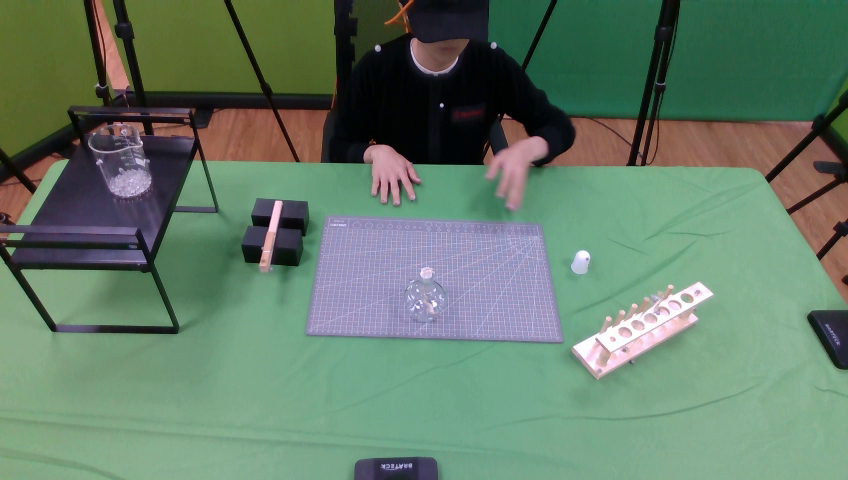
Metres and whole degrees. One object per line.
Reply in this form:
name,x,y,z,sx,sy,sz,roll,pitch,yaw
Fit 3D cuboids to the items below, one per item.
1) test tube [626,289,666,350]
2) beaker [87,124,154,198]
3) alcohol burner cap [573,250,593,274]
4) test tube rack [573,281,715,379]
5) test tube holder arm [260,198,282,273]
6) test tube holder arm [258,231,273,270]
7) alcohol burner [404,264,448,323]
test tube,0.355,0.132,0.975,0.017,0.151,0.017,3,46,-3
beaker,-0.482,-0.124,0.978,0.084,0.101,0.073,9,46,4
alcohol burner cap,0.308,0.039,1.163,0.034,0.048,0.033,1,46,-1
test tube rack,0.378,0.140,1.038,0.242,0.085,0.066,-22,51,-23
test tube holder arm,-0.282,-0.012,1.121,0.015,0.013,0.177,-3,48,3
test tube holder arm,-0.282,0.018,1.086,0.015,0.010,0.087,-3,47,3
alcohol burner,0.003,0.087,1.042,0.078,0.120,0.077,1,45,0
